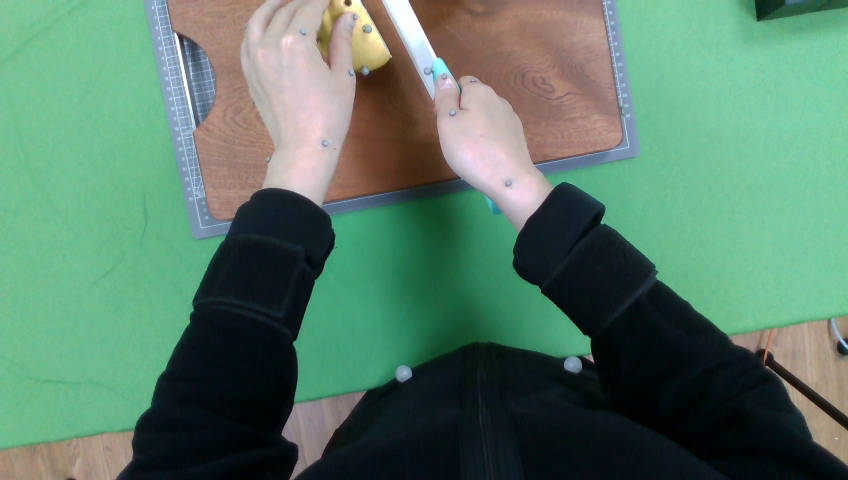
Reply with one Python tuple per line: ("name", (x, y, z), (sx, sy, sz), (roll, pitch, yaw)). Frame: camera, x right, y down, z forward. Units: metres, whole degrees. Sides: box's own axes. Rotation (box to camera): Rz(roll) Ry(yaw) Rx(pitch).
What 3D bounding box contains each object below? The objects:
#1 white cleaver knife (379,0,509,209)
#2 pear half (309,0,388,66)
("white cleaver knife", (0.001, -0.156, 0.512), (0.021, 0.066, 0.286), (-25, 87, -11))
("pear half", (-0.071, -0.185, 0.513), (0.056, 0.110, 0.076), (-35, 84, 3))
